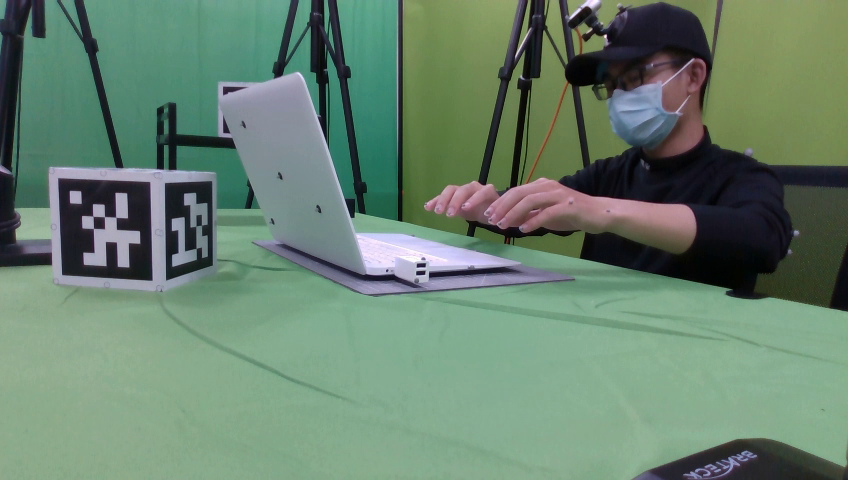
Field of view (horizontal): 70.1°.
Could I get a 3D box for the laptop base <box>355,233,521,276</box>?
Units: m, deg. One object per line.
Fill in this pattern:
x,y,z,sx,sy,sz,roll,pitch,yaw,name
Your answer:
-0.056,0.018,0.898,0.237,0.023,0.352,1,6,-32,laptop base

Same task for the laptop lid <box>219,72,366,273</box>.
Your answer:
-0.189,-0.087,0.801,0.013,0.242,0.355,-26,21,-26,laptop lid

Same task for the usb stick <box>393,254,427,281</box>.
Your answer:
-0.020,0.030,0.694,0.021,0.027,0.059,-4,5,-31,usb stick
